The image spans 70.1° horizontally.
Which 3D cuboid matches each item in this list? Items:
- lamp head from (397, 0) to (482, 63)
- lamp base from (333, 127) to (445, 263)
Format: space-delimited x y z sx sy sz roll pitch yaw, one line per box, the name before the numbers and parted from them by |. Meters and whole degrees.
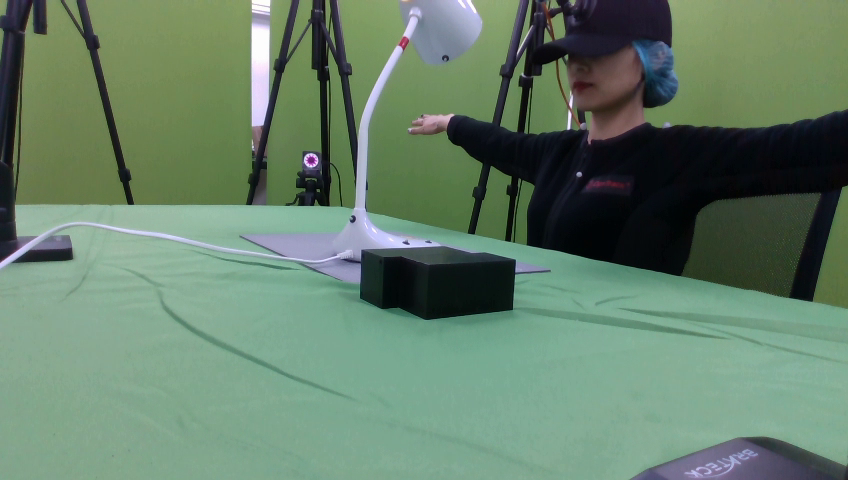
lamp head | 0.011 -0.341 0.899 0.112 0.112 0.123 7 -21 37
lamp base | -0.054 -0.064 0.842 0.160 0.180 0.180 6 11 29
